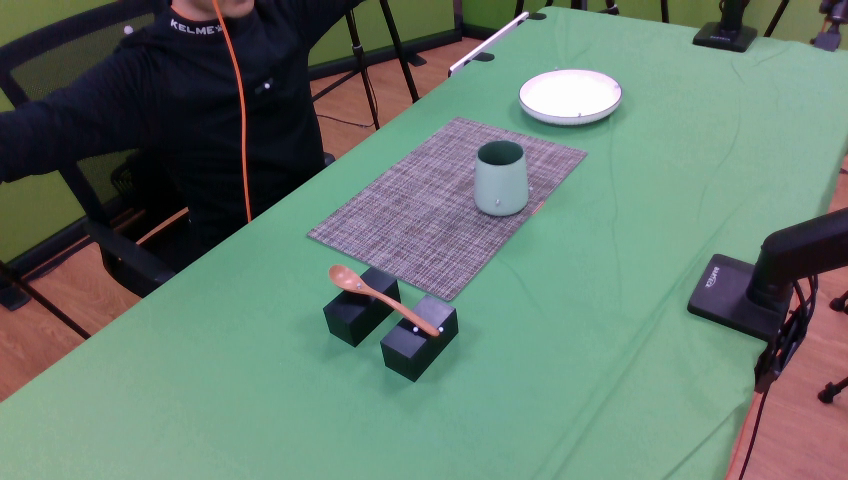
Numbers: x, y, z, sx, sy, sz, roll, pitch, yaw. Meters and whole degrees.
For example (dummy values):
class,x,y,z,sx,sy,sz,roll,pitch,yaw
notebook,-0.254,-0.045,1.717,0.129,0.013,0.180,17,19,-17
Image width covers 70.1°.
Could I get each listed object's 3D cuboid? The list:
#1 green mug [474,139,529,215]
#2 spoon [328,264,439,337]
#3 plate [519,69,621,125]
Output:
class,x,y,z,sx,sy,sz,roll,pitch,yaw
green mug,0.126,-0.113,1.013,0.092,0.105,0.124,-8,41,0
spoon,-0.056,0.079,0.807,0.192,0.021,0.042,25,33,32
plate,0.300,-0.293,1.253,0.209,0.038,0.208,-4,41,4
